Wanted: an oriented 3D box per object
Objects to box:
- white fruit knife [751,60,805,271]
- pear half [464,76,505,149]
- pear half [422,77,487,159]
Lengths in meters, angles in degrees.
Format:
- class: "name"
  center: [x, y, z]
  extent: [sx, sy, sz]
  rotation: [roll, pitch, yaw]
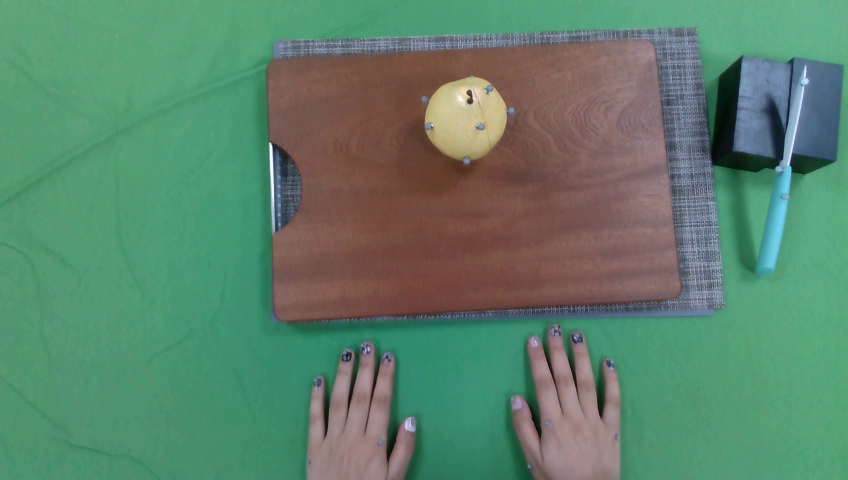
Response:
- class: "white fruit knife"
  center: [0.346, -0.067, 0.589]
  extent: [0.016, 0.027, 0.208]
  rotation: [5, 104, 8]
- class: "pear half"
  center: [0.060, -0.126, 0.572]
  extent: [0.031, 0.088, 0.070]
  rotation: [-25, 78, -3]
- class: "pear half"
  center: [0.027, -0.114, 0.560]
  extent: [0.056, 0.110, 0.076]
  rotation: [-24, 79, -2]
